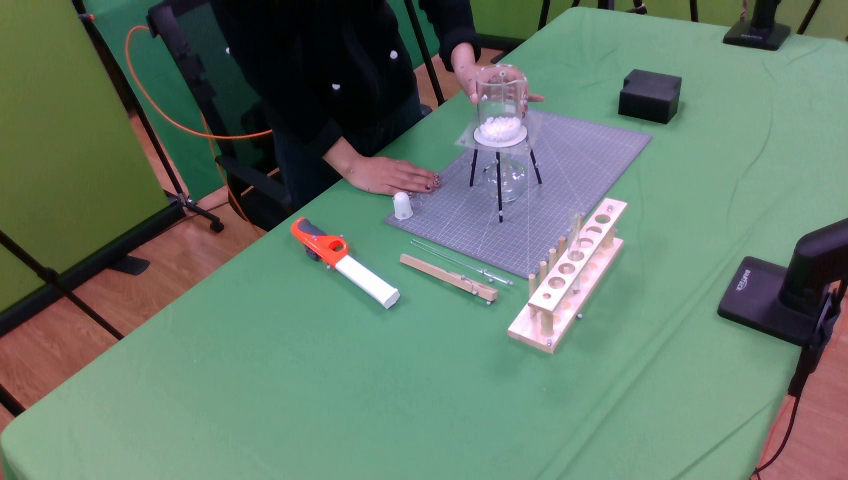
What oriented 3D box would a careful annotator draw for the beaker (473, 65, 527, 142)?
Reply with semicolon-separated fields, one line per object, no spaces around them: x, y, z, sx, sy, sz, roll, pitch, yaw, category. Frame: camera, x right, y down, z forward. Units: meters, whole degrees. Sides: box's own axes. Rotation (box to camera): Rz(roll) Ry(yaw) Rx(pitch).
0.120;-0.211;0.942;0.083;0.101;0.074;10;42;21;beaker

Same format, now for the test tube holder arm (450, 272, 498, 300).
0.071;0.068;0.895;0.087;0.015;0.010;21;16;33;test tube holder arm

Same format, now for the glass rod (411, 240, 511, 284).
0.053;0.033;0.946;0.198;0.008;0.008;22;50;36;glass rod

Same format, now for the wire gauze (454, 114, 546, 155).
0.124;-0.174;0.973;0.124;0.011;0.121;8;39;21;wire gauze

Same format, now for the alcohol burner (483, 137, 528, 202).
0.138;-0.125;1.030;0.078;0.119;0.077;-4;41;4;alcohol burner

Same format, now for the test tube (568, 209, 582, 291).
0.200;0.018;0.799;0.017;0.151;0.017;-8;45;8;test tube

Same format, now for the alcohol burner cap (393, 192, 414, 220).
-0.038;-0.061;1.043;0.034;0.048;0.033;-5;40;5;alcohol burner cap

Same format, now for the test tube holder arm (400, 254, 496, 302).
0.032;0.055;0.914;0.177;0.015;0.013;21;16;32;test tube holder arm

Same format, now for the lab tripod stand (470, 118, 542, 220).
0.135;-0.128;1.019;0.148;0.132;0.147;-5;38;5;lab tripod stand

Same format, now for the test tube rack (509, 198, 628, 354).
0.206;0.039;0.850;0.066;0.085;0.243;20;48;31;test tube rack

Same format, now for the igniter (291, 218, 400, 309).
-0.136;0.031;0.970;0.057;0.025;0.274;-41;49;-19;igniter
